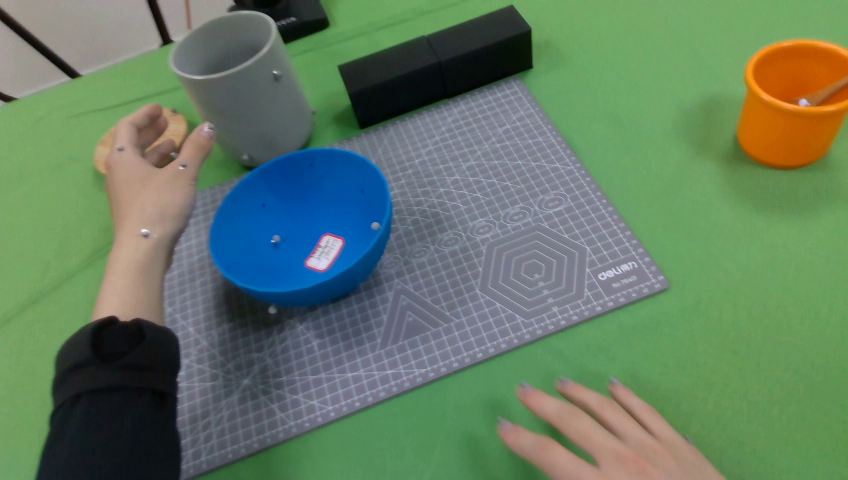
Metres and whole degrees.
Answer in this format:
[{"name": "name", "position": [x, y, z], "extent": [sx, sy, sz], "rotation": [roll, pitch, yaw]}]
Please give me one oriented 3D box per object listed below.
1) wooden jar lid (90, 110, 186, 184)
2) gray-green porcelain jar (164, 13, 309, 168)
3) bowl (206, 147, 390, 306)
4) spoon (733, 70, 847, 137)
[{"name": "wooden jar lid", "position": [-0.318, -0.104, 0.680], "extent": [0.108, 0.021, 0.107], "rotation": [-5, 53, 6]}, {"name": "gray-green porcelain jar", "position": [-0.181, -0.145, 0.614], "extent": [0.106, 0.128, 0.105], "rotation": [-6, 52, 8]}, {"name": "bowl", "position": [-0.095, 0.002, 0.513], "extent": [0.151, 0.077, 0.150], "rotation": [-6, 52, 8]}, {"name": "spoon", "position": [0.339, -0.128, 0.476], "extent": [0.022, 0.193, 0.041], "rotation": [37, 57, -16]}]
